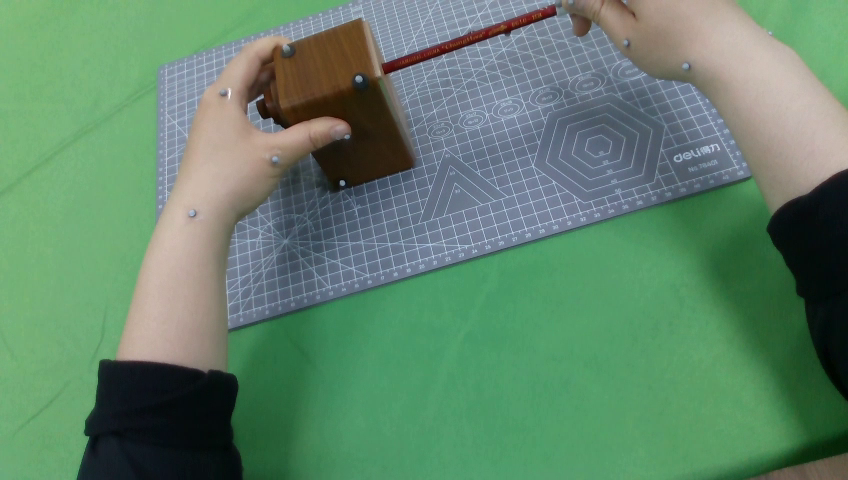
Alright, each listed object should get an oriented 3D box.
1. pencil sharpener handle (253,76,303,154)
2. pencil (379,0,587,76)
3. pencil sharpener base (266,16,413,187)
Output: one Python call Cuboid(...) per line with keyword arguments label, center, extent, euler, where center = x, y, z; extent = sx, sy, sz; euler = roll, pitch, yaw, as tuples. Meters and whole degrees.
Cuboid(label="pencil sharpener handle", center=(-0.111, -0.087, 0.442), extent=(0.030, 0.068, 0.035), euler=(-18, 62, 5))
Cuboid(label="pencil", center=(0.022, -0.135, 0.415), extent=(0.194, 0.012, 0.012), euler=(-19, 61, 7))
Cuboid(label="pencil sharpener base", center=(-0.060, -0.097, 0.448), extent=(0.076, 0.108, 0.061), euler=(-18, 61, 5))
